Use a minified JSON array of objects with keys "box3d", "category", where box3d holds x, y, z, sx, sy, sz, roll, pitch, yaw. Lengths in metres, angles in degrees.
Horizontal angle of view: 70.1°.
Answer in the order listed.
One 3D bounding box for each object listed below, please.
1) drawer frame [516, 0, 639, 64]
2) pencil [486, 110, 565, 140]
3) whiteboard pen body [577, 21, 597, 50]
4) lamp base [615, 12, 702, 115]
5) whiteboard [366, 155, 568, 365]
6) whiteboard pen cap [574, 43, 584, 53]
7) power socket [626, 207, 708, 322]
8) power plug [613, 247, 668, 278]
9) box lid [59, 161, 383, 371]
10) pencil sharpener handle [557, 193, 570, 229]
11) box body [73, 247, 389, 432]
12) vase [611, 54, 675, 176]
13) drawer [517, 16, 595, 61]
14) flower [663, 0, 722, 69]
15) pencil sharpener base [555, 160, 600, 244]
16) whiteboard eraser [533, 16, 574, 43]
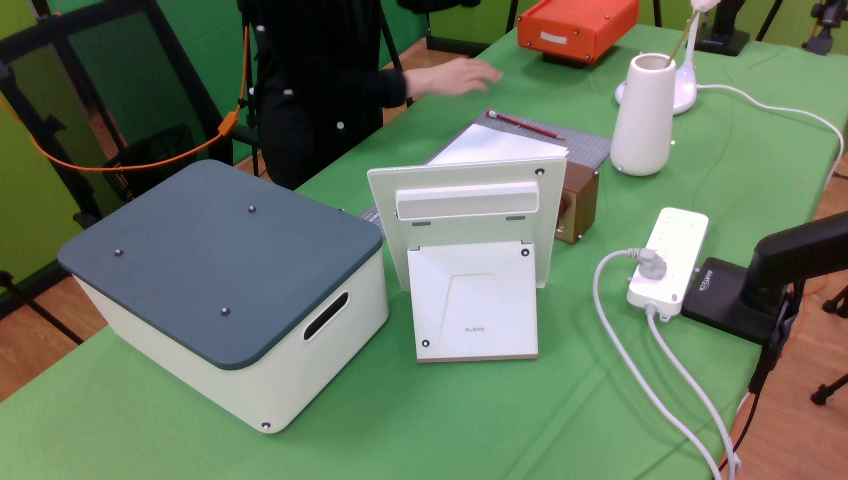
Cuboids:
[{"box3d":[0.356,-0.507,1.410,0.200,0.083,0.214,25,51,32],"category":"drawer frame"},{"box3d":[0.204,-0.233,1.226,0.192,0.012,0.012,29,52,33],"category":"pencil"},{"box3d":[0.372,-0.468,1.389,0.017,0.017,0.141,14,47,23],"category":"whiteboard pen body"},{"box3d":[0.484,-0.363,1.211,0.180,0.181,0.159,-15,41,-14],"category":"lamp base"},{"box3d":[0.059,0.049,0.738,0.217,0.307,0.143,-3,60,5],"category":"whiteboard"},{"box3d":[0.346,-0.430,1.350,0.018,0.018,0.033,15,37,24],"category":"whiteboard pen cap"},{"box3d":[0.359,0.026,0.886,0.072,0.033,0.227,16,46,26],"category":"power socket"},{"box3d":[0.306,0.031,0.851,0.072,0.053,0.035,24,49,34],"category":"power plug"},{"box3d":[-0.261,0.010,0.777,0.369,0.015,0.264,21,48,29],"category":"box lid"},{"box3d":[0.195,-0.038,0.908,0.035,0.068,0.031,24,50,30],"category":"pencil sharpener handle"},{"box3d":[-0.255,0.065,0.827,0.361,0.161,0.255,21,48,29],"category":"box body"},{"box3d":[0.377,-0.209,1.031,0.098,0.201,0.097,-3,40,3],"category":"vase"},{"box3d":[0.353,-0.505,1.403,0.193,0.073,0.212,25,50,33],"category":"drawer"},{"box3d":[0.379,-0.261,0.965,0.044,0.362,0.038,21,53,5],"category":"flower"},{"box3d":[0.228,-0.057,0.945,0.061,0.107,0.077,24,50,31],"category":"pencil sharpener base"},{"box3d":[0.305,-0.493,1.423,0.055,0.042,0.113,26,43,25],"category":"whiteboard eraser"}]
